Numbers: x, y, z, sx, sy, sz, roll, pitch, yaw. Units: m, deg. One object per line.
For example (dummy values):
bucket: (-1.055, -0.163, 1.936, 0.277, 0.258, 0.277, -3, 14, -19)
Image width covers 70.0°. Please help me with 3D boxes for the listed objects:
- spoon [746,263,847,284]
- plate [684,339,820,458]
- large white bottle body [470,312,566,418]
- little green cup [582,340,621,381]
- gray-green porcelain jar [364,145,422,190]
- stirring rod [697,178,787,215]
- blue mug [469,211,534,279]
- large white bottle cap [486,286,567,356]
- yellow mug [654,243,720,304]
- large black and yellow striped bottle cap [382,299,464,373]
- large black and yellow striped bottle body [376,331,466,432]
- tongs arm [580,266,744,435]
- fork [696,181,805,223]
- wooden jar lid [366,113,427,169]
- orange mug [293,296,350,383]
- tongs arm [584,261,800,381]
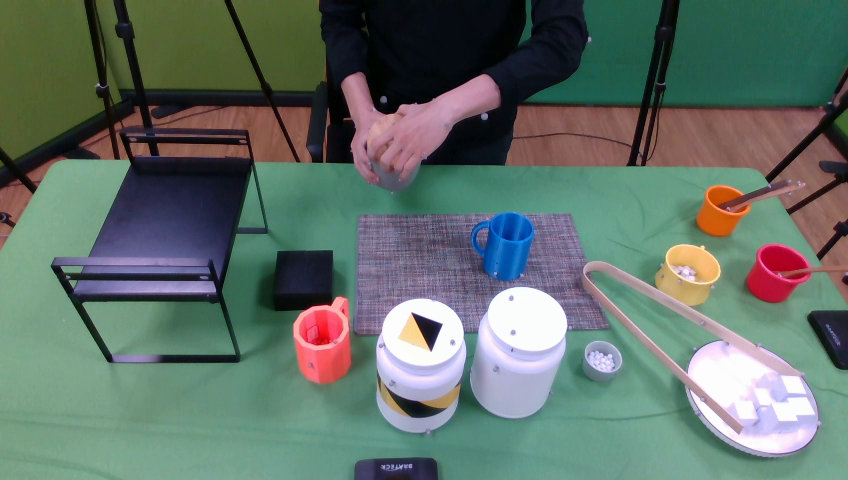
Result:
spoon: (0.696, 0.057, 1.113, 0.193, 0.022, 0.041, -16, 27, 48)
plate: (0.523, 0.256, 0.982, 0.208, 0.039, 0.206, 2, 46, -2)
large white bottle body: (0.143, 0.173, 0.930, 0.131, 0.185, 0.130, 2, 46, -2)
little green cup: (0.295, 0.203, 1.015, 0.061, 0.039, 0.061, 2, 45, -2)
gray-green porcelain jar: (-0.060, -0.159, 1.142, 0.106, 0.126, 0.105, 2, 75, -9)
stirring rod: (0.650, -0.088, 1.246, 0.006, 0.176, 0.014, 29, 50, -39)
blue mug: (0.141, 0.005, 1.140, 0.116, 0.106, 0.082, 18, 48, 13)
large white bottle cap: (0.147, 0.114, 0.869, 0.115, 0.018, 0.114, 3, 46, -3)
yellow mug: (0.504, 0.054, 1.154, 0.099, 0.064, 0.130, 28, 49, 22)
large black and yellow striped bottle cap: (-0.002, 0.132, 0.843, 0.115, 0.019, 0.114, 2, 46, -1)
large black and yellow striped bottle body: (-0.007, 0.189, 0.905, 0.131, 0.185, 0.130, 2, 46, -2)
tongs arm: (0.384, 0.173, 1.028, 0.028, 0.028, 0.385, -25, 46, -15)
fork: (0.659, -0.077, 1.231, 0.207, 0.019, 0.028, -26, 35, 34)
wooden jar lid: (-0.050, -0.175, 1.082, 0.108, 0.021, 0.108, 2, 74, -7)
orange mug: (-0.157, 0.154, 0.985, 0.083, 0.101, 0.125, 17, 52, 11)
tongs arm: (0.452, 0.137, 1.064, 0.051, 0.027, 0.382, -34, 50, -27)
